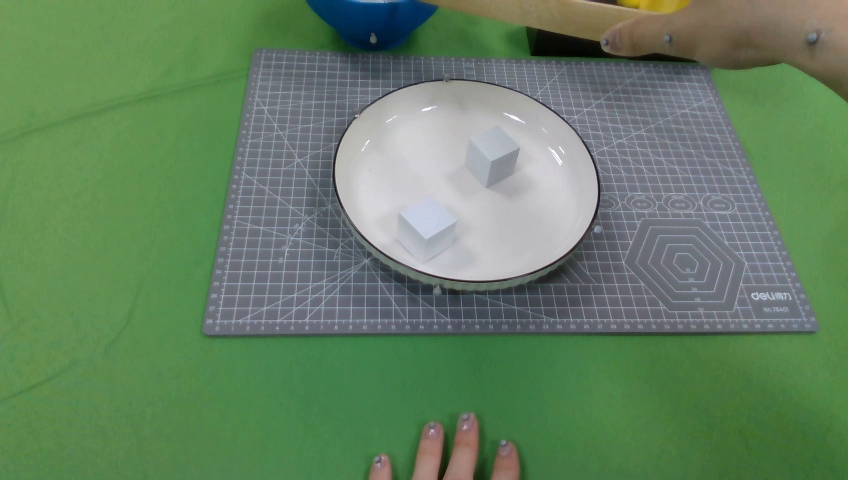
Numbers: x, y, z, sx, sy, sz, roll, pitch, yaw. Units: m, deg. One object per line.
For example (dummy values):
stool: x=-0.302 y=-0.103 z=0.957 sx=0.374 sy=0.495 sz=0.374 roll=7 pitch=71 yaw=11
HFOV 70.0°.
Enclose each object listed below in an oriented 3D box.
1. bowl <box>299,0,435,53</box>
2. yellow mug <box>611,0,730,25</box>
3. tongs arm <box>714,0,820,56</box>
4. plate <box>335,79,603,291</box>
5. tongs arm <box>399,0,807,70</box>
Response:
bowl: x=-0.052 y=-0.236 z=0.584 sx=0.151 sy=0.077 sz=0.150 roll=2 pitch=56 yaw=-2
yellow mug: x=0.232 y=-0.248 z=0.563 sx=0.131 sy=0.064 sz=0.099 roll=-14 pitch=58 yaw=-12
tongs arm: x=0.102 y=-0.207 z=0.451 sx=0.051 sy=0.027 sz=0.380 roll=-39 pitch=48 yaw=-18
plate: x=0.035 y=-0.045 z=0.484 sx=0.208 sy=0.039 sz=0.205 roll=2 pitch=56 yaw=-3
tongs arm: x=0.060 y=-0.171 z=0.434 sx=0.383 sy=0.028 sz=0.028 roll=28 pitch=58 yaw=37
